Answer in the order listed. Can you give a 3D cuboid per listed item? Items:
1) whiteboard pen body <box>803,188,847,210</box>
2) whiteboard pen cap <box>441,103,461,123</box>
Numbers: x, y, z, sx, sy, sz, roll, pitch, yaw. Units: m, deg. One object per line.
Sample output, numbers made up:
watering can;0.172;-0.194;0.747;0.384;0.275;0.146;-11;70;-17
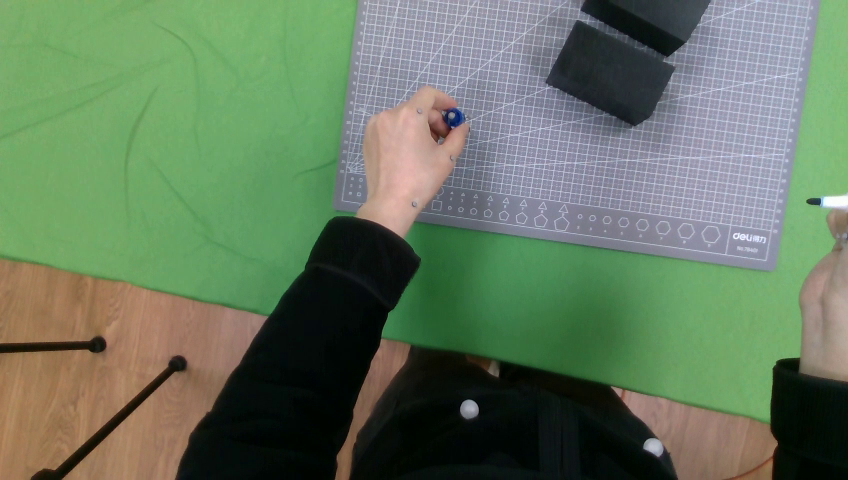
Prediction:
whiteboard pen body;0.310;-0.023;0.369;0.140;0.017;0.017;4;92;17
whiteboard pen cap;0.026;-0.120;0.572;0.018;0.033;0.018;1;98;8
